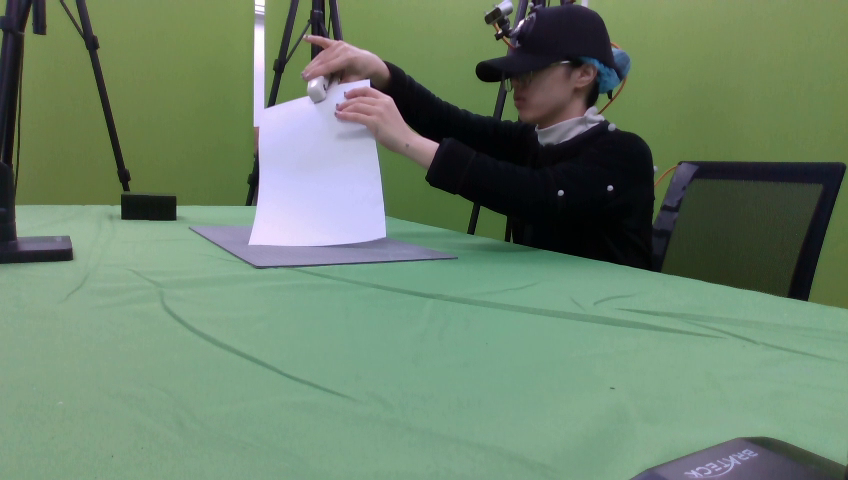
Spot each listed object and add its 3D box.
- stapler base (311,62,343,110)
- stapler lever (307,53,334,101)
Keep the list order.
[{"bbox_3d":[-0.176,-0.281,1.073,0.041,0.024,0.130,-9,46,16],"label":"stapler base"},{"bbox_3d":[-0.181,-0.290,1.062,0.027,0.118,0.040,-9,-33,16],"label":"stapler lever"}]
